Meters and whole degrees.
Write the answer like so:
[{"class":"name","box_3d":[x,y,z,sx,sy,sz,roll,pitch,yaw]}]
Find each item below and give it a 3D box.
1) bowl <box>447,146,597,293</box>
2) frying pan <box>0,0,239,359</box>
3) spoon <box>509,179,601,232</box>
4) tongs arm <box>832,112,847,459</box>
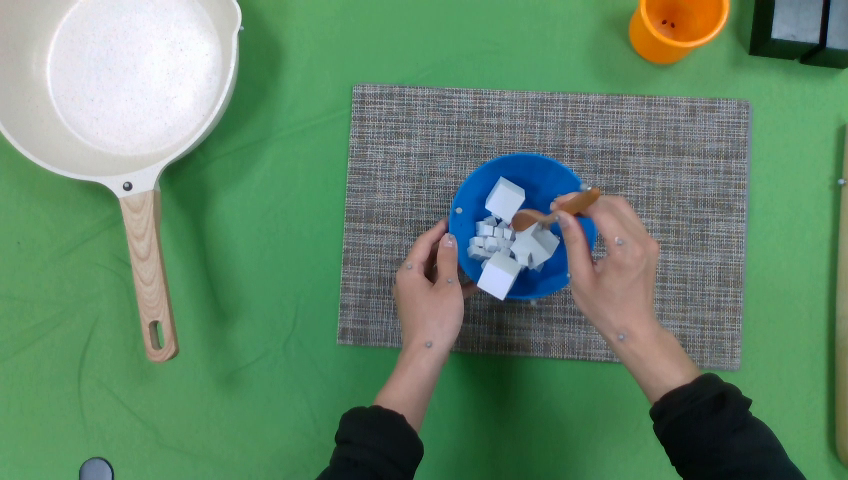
[{"class":"bowl","box_3d":[0.102,-0.019,0.647,0.151,0.077,0.151,0,88,5]},{"class":"frying pan","box_3d":[-0.323,-0.110,0.663,0.307,0.103,0.485,-13,79,3]},{"class":"spoon","box_3d":[0.119,-0.029,0.559,0.042,0.193,0.021,35,82,-4]},{"class":"tongs arm","box_3d":[0.466,0.050,0.659,0.028,0.028,0.387,2,88,2]}]
